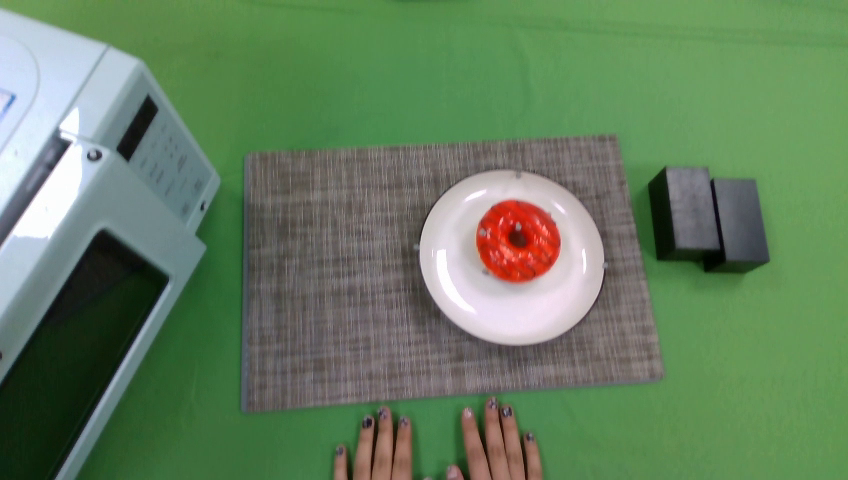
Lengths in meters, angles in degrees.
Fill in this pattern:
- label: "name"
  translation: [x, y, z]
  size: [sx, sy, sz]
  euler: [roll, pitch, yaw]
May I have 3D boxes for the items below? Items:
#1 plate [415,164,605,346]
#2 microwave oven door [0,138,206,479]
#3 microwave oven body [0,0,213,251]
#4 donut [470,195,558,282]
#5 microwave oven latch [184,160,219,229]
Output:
- label: "plate"
  translation: [0.094, 0.017, 0.677]
  size: [0.209, 0.038, 0.208]
  euler: [1, 73, -3]
- label: "microwave oven door"
  translation: [-0.316, 0.115, 0.501]
  size: [0.039, 0.245, 0.354]
  euler: [23, 73, 5]
- label: "microwave oven body"
  translation: [-0.448, 0.026, 0.525]
  size: [0.326, 0.261, 0.440]
  euler: [20, 73, 2]
- label: "donut"
  translation: [0.100, -0.001, 0.672]
  size: [0.099, 0.048, 0.098]
  euler: [2, 74, -5]
- label: "microwave oven latch"
  translation: [-0.253, -0.052, 0.663]
  size: [0.030, 0.029, 0.079]
  euler: [21, 74, 2]
